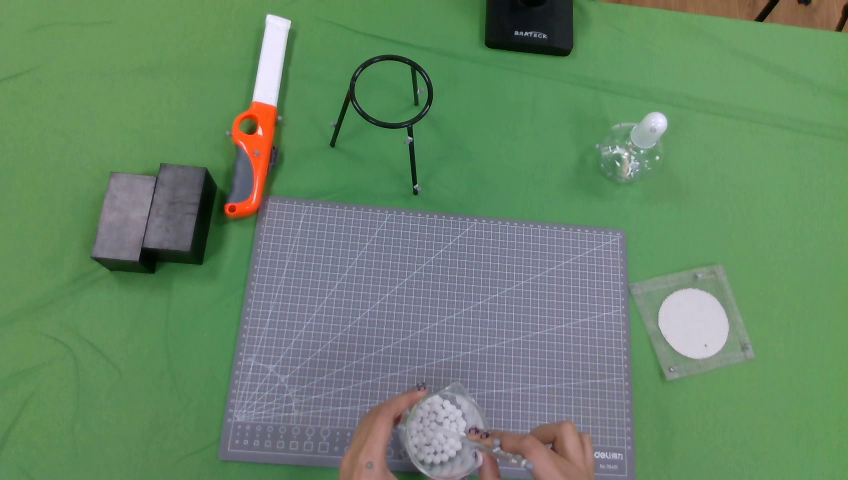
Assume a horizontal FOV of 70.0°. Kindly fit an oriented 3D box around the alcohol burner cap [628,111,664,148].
[{"bbox_3d":[0.261,-0.131,0.704,0.034,0.048,0.033,0,75,-2],"label":"alcohol burner cap"}]

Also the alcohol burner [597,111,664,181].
[{"bbox_3d":[0.258,-0.120,0.739,0.078,0.119,0.077,2,70,-5],"label":"alcohol burner"}]

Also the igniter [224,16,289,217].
[{"bbox_3d":[-0.203,-0.156,0.747,0.057,0.025,0.275,11,71,-18],"label":"igniter"}]

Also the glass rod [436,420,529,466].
[{"bbox_3d":[0.043,0.168,0.510,0.008,0.199,0.008,3,81,-16],"label":"glass rod"}]

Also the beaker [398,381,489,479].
[{"bbox_3d":[0.014,0.176,0.569,0.074,0.100,0.083,15,74,-4],"label":"beaker"}]

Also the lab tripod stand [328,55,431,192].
[{"bbox_3d":[-0.042,-0.143,0.705,0.148,0.132,0.147,2,70,-4],"label":"lab tripod stand"}]

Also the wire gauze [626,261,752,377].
[{"bbox_3d":[0.322,0.094,0.732,0.125,0.011,0.120,-12,74,-7],"label":"wire gauze"}]
